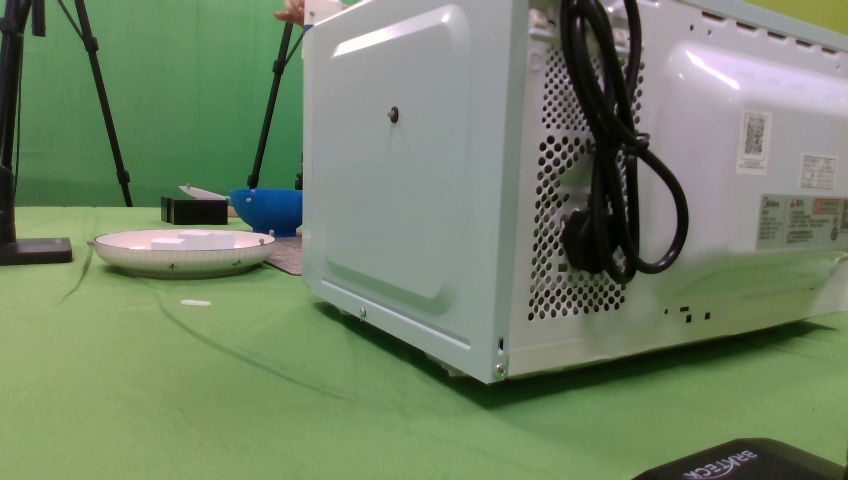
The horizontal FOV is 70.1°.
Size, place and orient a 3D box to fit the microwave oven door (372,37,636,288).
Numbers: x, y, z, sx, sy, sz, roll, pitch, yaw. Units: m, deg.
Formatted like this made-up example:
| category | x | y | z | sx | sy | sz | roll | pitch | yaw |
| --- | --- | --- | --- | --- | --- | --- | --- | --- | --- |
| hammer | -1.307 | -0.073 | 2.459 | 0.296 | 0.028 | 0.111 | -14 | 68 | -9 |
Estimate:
| category | x | y | z | sx | sy | sz | roll | pitch | yaw |
| --- | --- | --- | --- | --- | --- | --- | --- | --- | --- |
| microwave oven door | 0.110 | -0.080 | 0.686 | 0.358 | 0.243 | 0.039 | -2 | 9 | -33 |

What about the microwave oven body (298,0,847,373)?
| category | x | y | z | sx | sy | sz | roll | pitch | yaw |
| --- | --- | --- | --- | --- | --- | --- | --- | --- | --- |
| microwave oven body | 0.151 | -0.055 | 0.542 | 0.444 | 0.260 | 0.324 | -2 | 7 | -33 |

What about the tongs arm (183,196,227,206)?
| category | x | y | z | sx | sy | sz | roll | pitch | yaw |
| --- | --- | --- | --- | --- | --- | --- | --- | --- | --- |
| tongs arm | -0.404 | -0.081 | 1.479 | 0.385 | 0.026 | 0.050 | 3 | 8 | -2 |

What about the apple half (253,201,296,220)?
| category | x | y | z | sx | sy | sz | roll | pitch | yaw |
| --- | --- | --- | --- | --- | --- | --- | --- | --- | --- |
| apple half | -0.264 | -0.053 | 1.066 | 0.081 | 0.033 | 0.081 | 2 | 9 | 0 |

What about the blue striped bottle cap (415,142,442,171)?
| category | x | y | z | sx | sy | sz | roll | pitch | yaw |
| --- | --- | --- | --- | --- | --- | --- | --- | --- | --- |
| blue striped bottle cap | 0.007 | -0.131 | 0.945 | 0.020 | 0.044 | 0.044 | -37 | -3 | 15 |

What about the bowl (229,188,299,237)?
| category | x | y | z | sx | sy | sz | roll | pitch | yaw |
| --- | --- | --- | --- | --- | --- | --- | --- | --- | --- |
| bowl | -0.264 | -0.048 | 1.065 | 0.151 | 0.077 | 0.151 | 3 | 8 | 0 |

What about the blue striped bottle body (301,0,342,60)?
| category | x | y | z | sx | sy | sz | roll | pitch | yaw |
| --- | --- | --- | --- | --- | --- | --- | --- | --- | --- |
| blue striped bottle body | -0.168 | -0.354 | 0.999 | 0.063 | 0.121 | 0.063 | 6 | 12 | -1 |

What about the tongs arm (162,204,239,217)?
| category | x | y | z | sx | sy | sz | roll | pitch | yaw |
| --- | --- | --- | --- | --- | --- | --- | --- | --- | --- |
| tongs arm | -0.396 | -0.066 | 1.399 | 0.389 | 0.028 | 0.028 | 1 | 5 | -15 |

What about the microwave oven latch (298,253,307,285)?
| category | x | y | z | sx | sy | sz | roll | pitch | yaw |
| --- | --- | --- | --- | --- | --- | --- | --- | --- | --- |
| microwave oven latch | -0.082 | 0.027 | 0.583 | 0.079 | 0.029 | 0.030 | -2 | 8 | -34 |

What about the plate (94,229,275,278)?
| category | x | y | z | sx | sy | sz | roll | pitch | yaw |
| --- | --- | --- | --- | --- | --- | --- | --- | --- | --- |
| plate | -0.291 | 0.016 | 0.750 | 0.208 | 0.039 | 0.207 | 2 | 7 | 0 |

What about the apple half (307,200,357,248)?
| category | x | y | z | sx | sy | sz | roll | pitch | yaw |
| --- | --- | --- | --- | --- | --- | --- | --- | --- | --- |
| apple half | -0.135 | -0.024 | 0.942 | 0.053 | 0.074 | 0.081 | 13 | 9 | 38 |

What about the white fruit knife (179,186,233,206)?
| category | x | y | z | sx | sy | sz | roll | pitch | yaw |
| --- | --- | --- | --- | --- | --- | --- | --- | --- | --- |
| white fruit knife | -0.413 | -0.081 | 1.270 | 0.208 | 0.027 | 0.016 | 17 | 14 | -41 |
